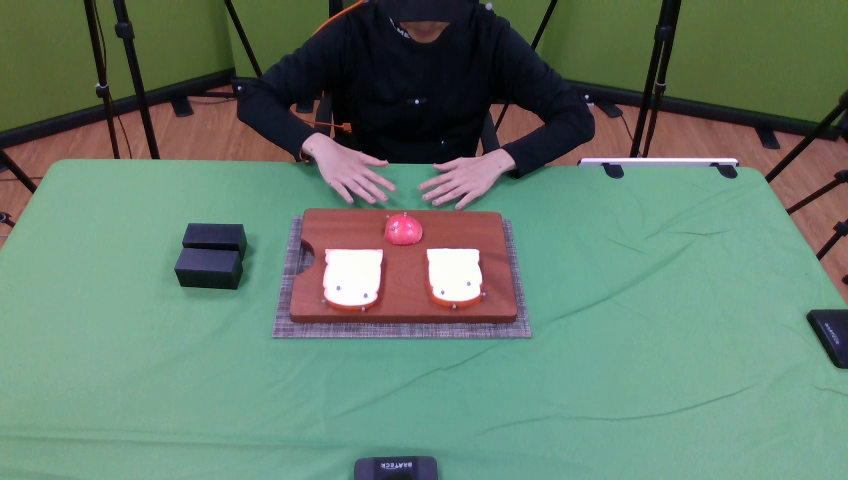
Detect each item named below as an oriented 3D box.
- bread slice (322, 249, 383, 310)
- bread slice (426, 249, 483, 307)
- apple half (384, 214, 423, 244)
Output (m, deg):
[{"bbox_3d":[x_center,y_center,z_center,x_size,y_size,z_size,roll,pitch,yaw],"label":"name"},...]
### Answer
[{"bbox_3d":[-0.127,0.068,1.083,0.107,0.018,0.133,-1,47,-4],"label":"bread slice"},{"bbox_3d":[0.058,0.066,1.100,0.105,0.019,0.130,-1,45,-3],"label":"bread slice"},{"bbox_3d":[-0.039,-0.028,1.172,0.081,0.033,0.081,1,45,0],"label":"apple half"}]
